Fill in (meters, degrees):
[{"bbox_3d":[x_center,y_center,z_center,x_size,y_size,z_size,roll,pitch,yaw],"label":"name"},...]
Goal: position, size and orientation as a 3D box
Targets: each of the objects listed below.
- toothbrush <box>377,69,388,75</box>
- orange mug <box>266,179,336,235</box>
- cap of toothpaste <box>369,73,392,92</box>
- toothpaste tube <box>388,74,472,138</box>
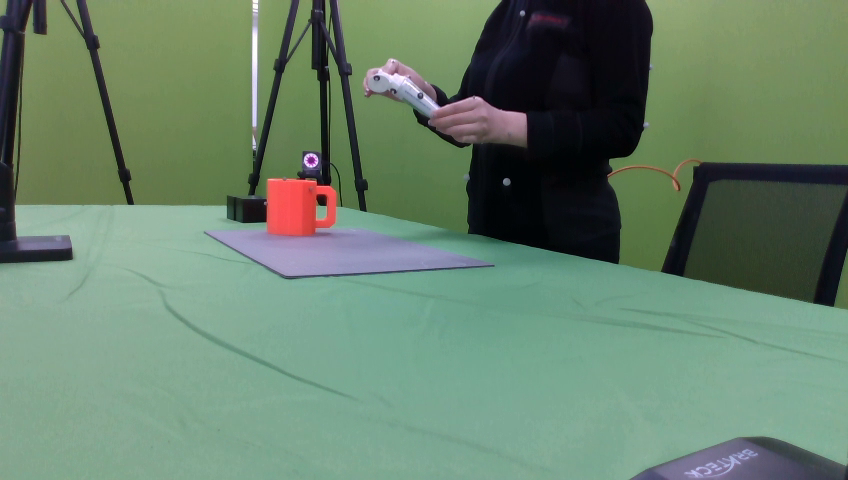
[{"bbox_3d":[-0.064,-0.277,1.037,0.017,0.014,0.182,19,10,-3],"label":"toothbrush"},{"bbox_3d":[-0.222,-0.062,1.094,0.127,0.101,0.083,-5,10,-22],"label":"orange mug"},{"bbox_3d":[-0.068,-0.247,0.945,0.037,0.011,0.037,-4,-36,-3],"label":"cap of toothpaste"},{"bbox_3d":[0.009,-0.216,0.984,0.165,0.034,0.055,32,20,-16],"label":"toothpaste tube"}]
